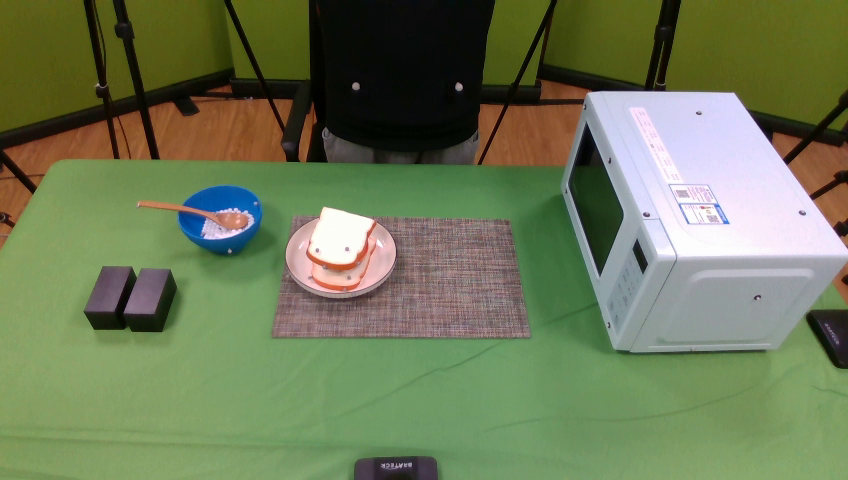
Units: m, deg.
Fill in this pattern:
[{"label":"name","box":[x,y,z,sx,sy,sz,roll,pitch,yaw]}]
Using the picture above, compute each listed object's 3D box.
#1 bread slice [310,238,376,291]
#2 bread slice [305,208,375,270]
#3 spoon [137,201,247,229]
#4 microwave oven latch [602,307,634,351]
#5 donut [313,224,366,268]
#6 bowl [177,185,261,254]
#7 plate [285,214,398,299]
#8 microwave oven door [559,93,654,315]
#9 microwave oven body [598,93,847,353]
[{"label":"bread slice","box":[-0.154,0.039,1.135,0.107,0.018,0.133,7,46,3]},{"label":"bread slice","box":[-0.154,-0.001,1.095,0.105,0.019,0.131,15,48,1]},{"label":"spoon","box":[-0.431,-0.051,1.135,0.194,0.022,0.041,14,45,-22]},{"label":"microwave oven latch","box":[0.332,0.153,1.044,0.030,0.029,0.078,-1,45,-4]},{"label":"donut","box":[-0.156,0.012,1.120,0.099,0.048,0.098,1,43,-1]},{"label":"bowl","box":[-0.383,-0.027,1.158,0.151,0.077,0.150,2,46,-2]},{"label":"plate","box":[-0.154,0.034,1.140,0.208,0.039,0.206,2,46,-2]},{"label":"microwave oven door","box":[0.327,-0.074,1.123,0.039,0.245,0.353,-1,46,-5]},{"label":"microwave oven body","box":[0.475,-0.041,1.110,0.326,0.261,0.438,-1,45,-4]}]
